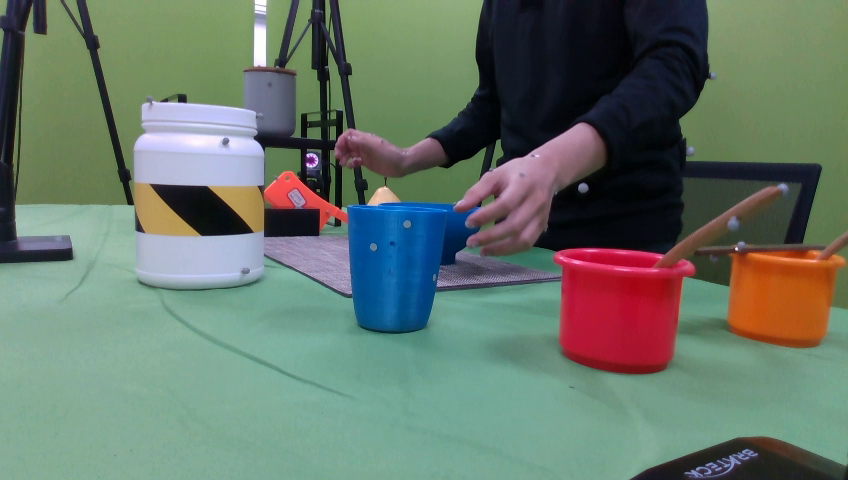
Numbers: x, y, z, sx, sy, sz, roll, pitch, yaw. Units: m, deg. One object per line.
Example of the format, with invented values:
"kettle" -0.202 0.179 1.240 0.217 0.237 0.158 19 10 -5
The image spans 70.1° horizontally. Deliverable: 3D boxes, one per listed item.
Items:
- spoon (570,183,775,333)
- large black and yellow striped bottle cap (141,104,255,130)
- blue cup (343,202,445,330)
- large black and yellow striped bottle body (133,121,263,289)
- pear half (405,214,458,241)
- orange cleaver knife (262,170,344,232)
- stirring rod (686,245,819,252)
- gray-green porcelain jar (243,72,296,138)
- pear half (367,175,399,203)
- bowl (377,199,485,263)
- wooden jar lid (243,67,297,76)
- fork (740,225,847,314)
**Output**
"spoon" 0.160 0.020 0.413 0.042 0.021 0.193 0 -36 -24
"large black and yellow striped bottle cap" -0.241 -0.131 0.650 0.115 0.019 0.115 3 8 0
"blue cup" -0.027 0.020 0.510 0.093 0.100 0.092 3 5 0
"large black and yellow striped bottle body" -0.243 -0.048 0.659 0.131 0.184 0.130 2 7 0
"pear half" 0.007 -0.020 0.847 0.070 0.031 0.088 2 11 39
"orange cleaver knife" -0.201 -0.056 1.136 0.212 0.077 0.012 31 -4 -31
"stirring rod" 0.290 0.008 0.524 0.177 0.006 0.014 1 -4 -26
"gray-green porcelain jar" -0.322 -0.279 1.263 0.106 0.126 0.106 3 8 0
"pear half" -0.064 -0.061 1.077 0.055 0.110 0.077 8 14 40
"bowl" 0.008 -0.012 0.842 0.151 0.077 0.151 2 8 0
"wooden jar lid" -0.319 -0.342 1.254 0.108 0.020 0.108 3 8 0
"fork" 0.323 0.013 0.485 0.028 0.018 0.207 8 -38 -6
